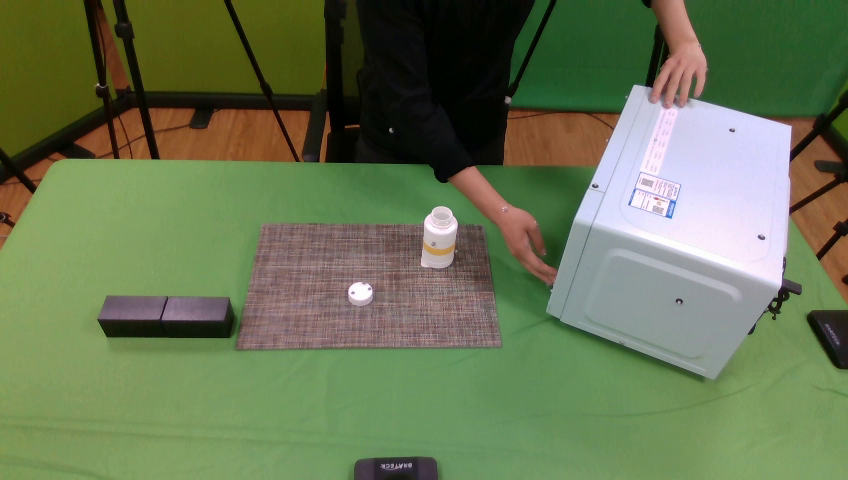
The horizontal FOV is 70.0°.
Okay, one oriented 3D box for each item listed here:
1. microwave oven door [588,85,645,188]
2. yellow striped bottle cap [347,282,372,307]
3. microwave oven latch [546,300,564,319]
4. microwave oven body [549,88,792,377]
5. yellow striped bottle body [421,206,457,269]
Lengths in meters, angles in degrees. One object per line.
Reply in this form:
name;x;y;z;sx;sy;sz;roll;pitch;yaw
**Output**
microwave oven door;0.341;-0.107;1.149;0.039;0.245;0.354;20;48;15
yellow striped bottle cap;-0.117;0.098;1.093;0.044;0.019;0.044;4;45;-3
microwave oven latch;0.243;0.102;1.080;0.030;0.029;0.079;22;48;18
microwave oven body;0.456;-0.028;1.088;0.325;0.261;0.440;20;47;16
yellow striped bottle body;0.029;-0.008;1.132;0.063;0.121;0.062;2;46;-2
